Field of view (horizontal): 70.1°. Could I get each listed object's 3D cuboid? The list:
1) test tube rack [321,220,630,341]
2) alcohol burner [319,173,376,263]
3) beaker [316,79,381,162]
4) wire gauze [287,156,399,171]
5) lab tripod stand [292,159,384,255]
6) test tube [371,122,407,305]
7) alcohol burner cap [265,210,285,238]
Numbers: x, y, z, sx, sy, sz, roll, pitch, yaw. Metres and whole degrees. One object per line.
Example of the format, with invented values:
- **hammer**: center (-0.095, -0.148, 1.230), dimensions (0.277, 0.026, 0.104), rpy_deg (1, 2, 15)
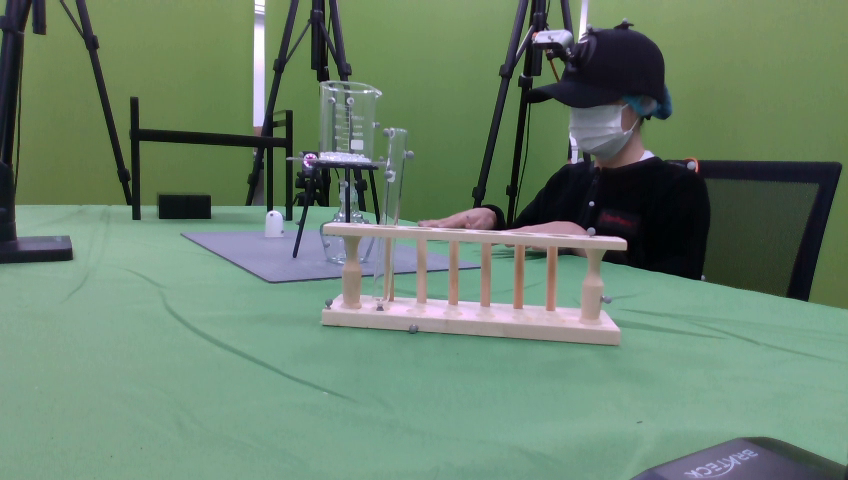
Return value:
- **test tube rack**: center (0.041, 0.029, 0.512), dimensions (0.242, 0.085, 0.067), rpy_deg (3, 7, 5)
- **alcohol burner**: center (-0.101, -0.030, 0.804), dimensions (0.078, 0.119, 0.078), rpy_deg (0, 6, 0)
- **beaker**: center (-0.098, -0.151, 0.778), dimensions (0.084, 0.100, 0.074), rpy_deg (4, 7, 6)
- **wire gauze**: center (-0.101, -0.103, 0.788), dimensions (0.121, 0.011, 0.125), rpy_deg (5, 4, 5)
- **lab tripod stand**: center (-0.105, -0.039, 0.797), dimensions (0.148, 0.131, 0.148), rpy_deg (2, 5, 0)
- **test tube**: center (-0.029, -0.020, 0.493), dimensions (0.017, 0.150, 0.017), rpy_deg (6, 9, -1)
- **alcohol burner cap**: center (-0.253, -0.027, 1.027), dimensions (0.034, 0.048, 0.034), rpy_deg (2, 8, 0)
